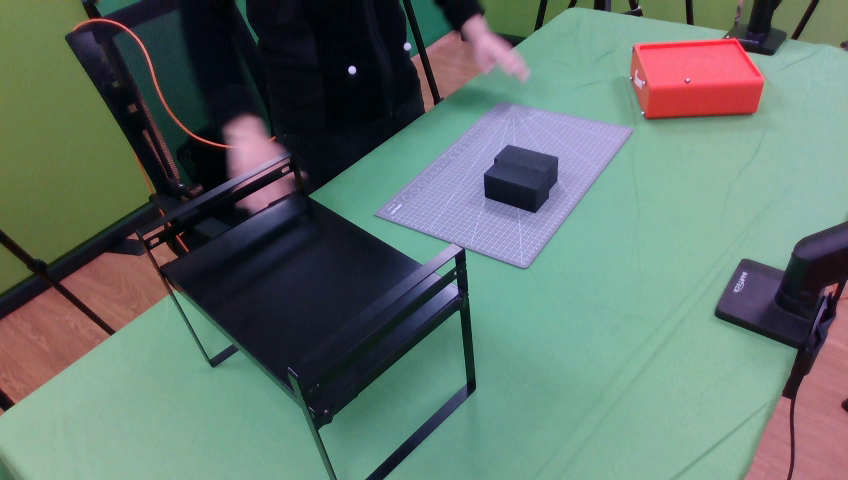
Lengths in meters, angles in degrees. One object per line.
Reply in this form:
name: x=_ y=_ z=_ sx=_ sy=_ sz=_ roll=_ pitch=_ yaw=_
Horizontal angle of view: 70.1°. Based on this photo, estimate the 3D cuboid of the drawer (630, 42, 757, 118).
drawer: x=0.541 y=-0.331 z=1.234 sx=0.211 sy=0.073 sz=0.194 roll=-1 pitch=40 yaw=8

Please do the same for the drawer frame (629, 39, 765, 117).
drawer frame: x=0.543 y=-0.332 z=1.234 sx=0.213 sy=0.083 sz=0.201 roll=-1 pitch=41 yaw=6

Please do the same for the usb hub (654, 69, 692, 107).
usb hub: x=0.511 y=-0.313 z=1.241 sx=0.049 sy=0.025 sz=0.124 roll=-2 pitch=39 yaw=9
